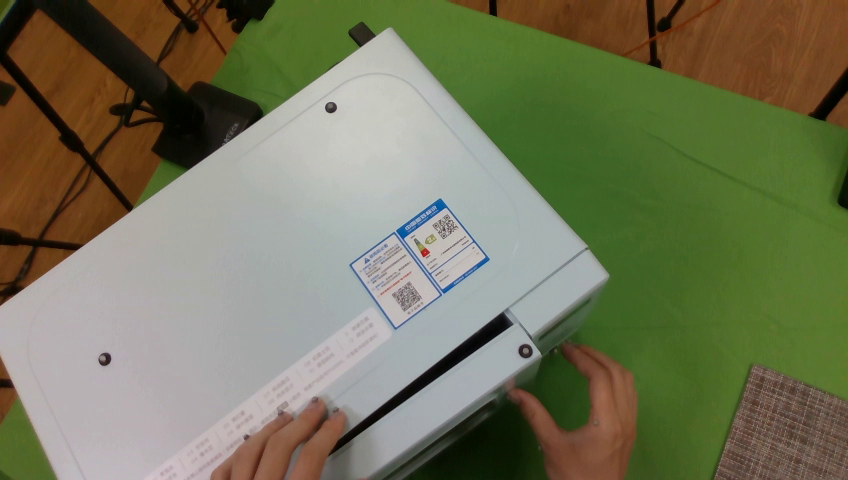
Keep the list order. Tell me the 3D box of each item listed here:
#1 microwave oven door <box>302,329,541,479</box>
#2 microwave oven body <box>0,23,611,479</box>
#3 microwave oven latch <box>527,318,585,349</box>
[{"bbox_3d":[-0.048,0.206,0.551,0.356,0.245,0.039,-35,70,-3],"label":"microwave oven door"},{"bbox_3d":[-0.104,0.068,0.606,0.441,0.262,0.323,-37,72,-3],"label":"microwave oven body"},{"bbox_3d":[0.138,0.101,0.664,0.079,0.030,0.030,-35,72,-3],"label":"microwave oven latch"}]
